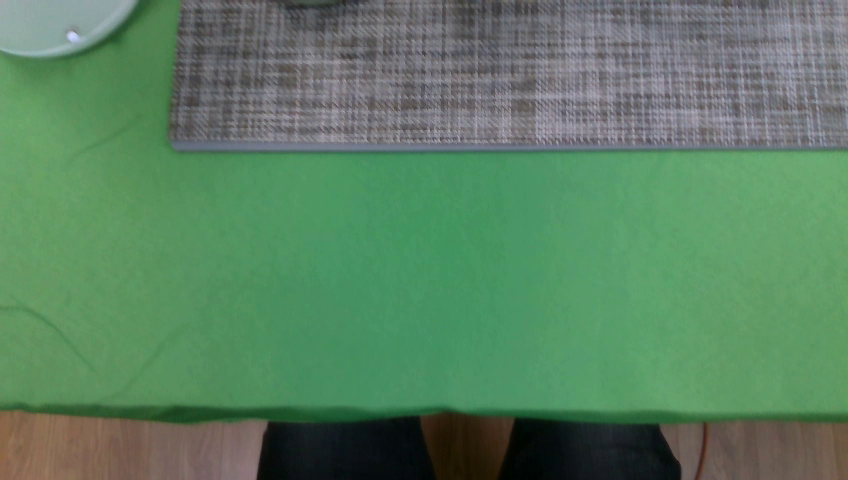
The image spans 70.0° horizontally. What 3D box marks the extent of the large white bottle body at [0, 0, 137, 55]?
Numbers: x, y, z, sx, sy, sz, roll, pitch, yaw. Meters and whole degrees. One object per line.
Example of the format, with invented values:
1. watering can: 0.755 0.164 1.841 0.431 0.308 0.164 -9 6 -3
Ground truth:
1. large white bottle body: -0.249 -0.197 0.317 0.130 0.185 0.130 0 80 3

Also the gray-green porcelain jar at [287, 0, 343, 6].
1. gray-green porcelain jar: -0.070 -0.204 0.337 0.106 0.127 0.105 0 80 3
